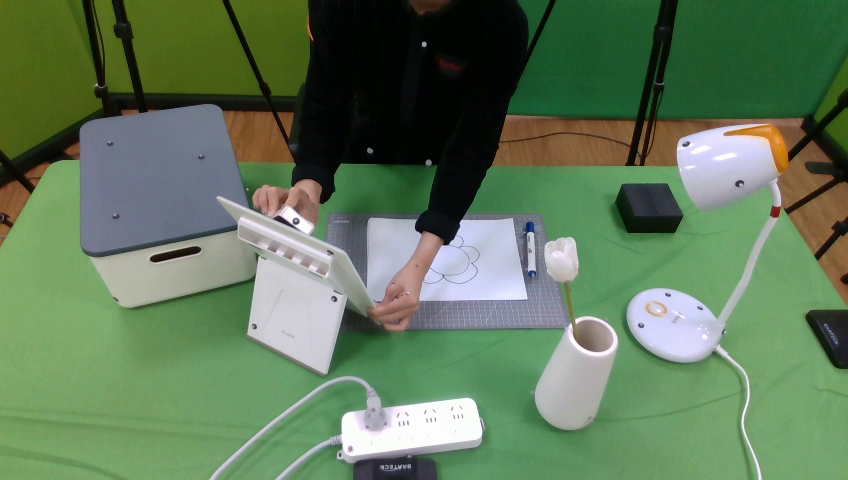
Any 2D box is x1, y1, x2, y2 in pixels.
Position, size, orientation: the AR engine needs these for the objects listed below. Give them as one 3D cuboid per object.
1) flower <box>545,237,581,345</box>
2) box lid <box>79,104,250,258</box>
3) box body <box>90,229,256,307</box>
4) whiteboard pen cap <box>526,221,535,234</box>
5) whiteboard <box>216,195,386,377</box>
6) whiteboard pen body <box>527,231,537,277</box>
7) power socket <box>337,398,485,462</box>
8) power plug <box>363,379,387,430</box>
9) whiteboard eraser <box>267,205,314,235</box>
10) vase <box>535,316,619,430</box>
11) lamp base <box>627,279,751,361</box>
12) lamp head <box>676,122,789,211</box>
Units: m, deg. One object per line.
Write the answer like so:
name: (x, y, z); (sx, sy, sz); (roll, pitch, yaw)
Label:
flower: (0.213, 0.137, 0.846); (0.038, 0.364, 0.044); (22, 55, 40)
box lid: (-0.467, -0.120, 1.075); (0.264, 0.015, 0.369); (-13, 49, -17)
box body: (-0.471, -0.070, 1.131); (0.254, 0.161, 0.361); (-14, 49, -17)
whiteboard pen cap: (0.216, -0.022, 1.233); (0.018, 0.018, 0.033); (6, 45, 2)
whiteboard: (-0.212, 0.094, 0.938); (0.216, 0.307, 0.143); (24, 70, 17)
whiteboard pen body: (0.211, 0.018, 1.191); (0.017, 0.017, 0.140); (6, 44, 1)
power socket: (-0.018, 0.285, 0.914); (0.227, 0.033, 0.071); (-4, 46, -8)
power plug: (-0.072, 0.252, 0.911); (0.035, 0.053, 0.072); (3, 40, 0)
whiteboard eraser: (-0.211, -0.018, 0.917); (0.056, 0.112, 0.041); (37, 70, -20)
vase: (0.229, 0.200, 0.900); (0.098, 0.201, 0.097); (3, 46, -3)
lamp base: (0.460, 0.100, 1.027); (0.178, 0.181, 0.160); (27, 51, 17)
lamp head: (0.423, -0.104, 0.819); (0.122, 0.113, 0.112); (-13, 33, 40)
